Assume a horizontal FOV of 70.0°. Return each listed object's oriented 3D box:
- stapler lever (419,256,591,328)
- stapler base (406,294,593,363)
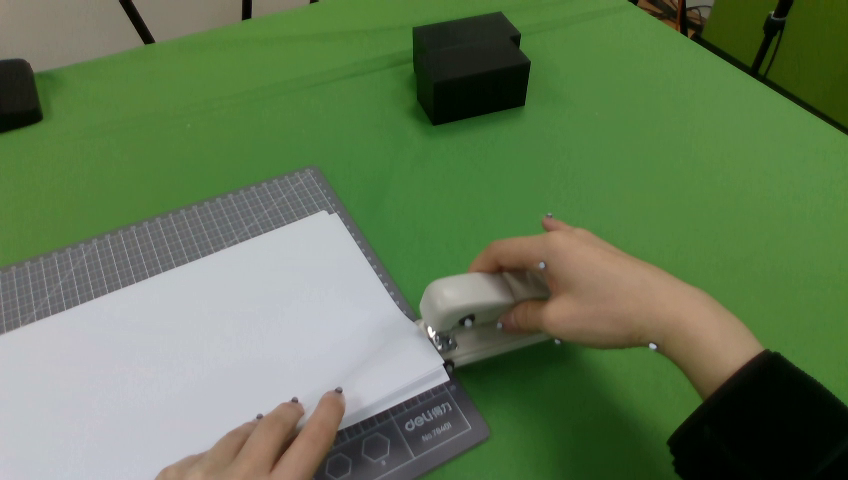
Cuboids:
[{"bbox_3d":[0.055,0.030,0.395,0.118,0.040,0.026,-13,53,-14],"label":"stapler lever"},{"bbox_3d":[0.053,0.047,0.413,0.131,0.024,0.041,-13,53,-15],"label":"stapler base"}]
